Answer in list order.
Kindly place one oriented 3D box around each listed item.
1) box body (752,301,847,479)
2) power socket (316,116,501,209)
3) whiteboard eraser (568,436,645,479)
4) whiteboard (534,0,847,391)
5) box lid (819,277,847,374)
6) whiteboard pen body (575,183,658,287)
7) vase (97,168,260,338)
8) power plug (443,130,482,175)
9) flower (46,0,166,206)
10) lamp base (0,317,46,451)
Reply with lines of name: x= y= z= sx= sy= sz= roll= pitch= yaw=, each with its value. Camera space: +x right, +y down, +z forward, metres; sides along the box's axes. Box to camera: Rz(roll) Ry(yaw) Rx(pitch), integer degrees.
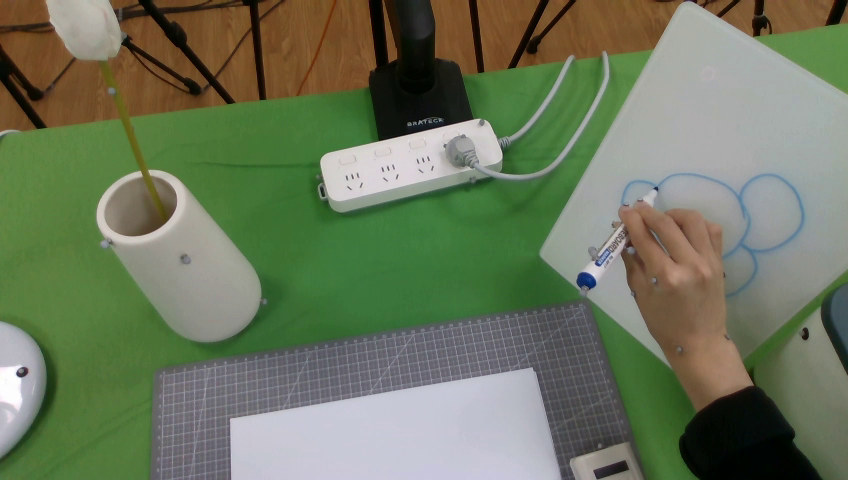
box body: x=0.465 y=0.209 z=0.476 sx=0.254 sy=0.161 sz=0.360 roll=-10 pitch=62 yaw=-5
power socket: x=-0.016 y=-0.092 z=0.710 sx=0.227 sy=0.033 sz=0.071 roll=-14 pitch=63 yaw=-8
whiteboard eraser: x=0.172 y=0.233 z=0.528 sx=0.056 sy=0.042 sz=0.111 roll=-13 pitch=62 yaw=-9
whiteboard: x=0.279 y=-0.044 z=0.566 sx=0.144 sy=0.307 sz=0.215 roll=-30 pitch=64 yaw=-36
box lid: x=0.464 y=0.172 z=0.411 sx=0.263 sy=0.015 sz=0.368 roll=-9 pitch=63 yaw=-5
whiteboard pen body: x=0.162 y=-0.009 z=0.497 sx=0.017 sy=0.017 sz=0.140 roll=35 pitch=55 yaw=18
vase: x=-0.220 y=0.017 z=0.557 sx=0.098 sy=0.201 sz=0.097 roll=-1 pitch=61 yaw=2
power plug: x=0.042 y=-0.091 z=0.683 sx=0.035 sy=0.053 sz=0.072 roll=-5 pitch=63 yaw=-2
flower: x=-0.217 y=-0.039 z=0.494 sx=0.038 sy=0.365 sz=0.043 roll=-20 pitch=45 yaw=-18
lamp base: x=-0.462 y=0.105 z=0.520 sx=0.178 sy=0.182 sz=0.160 roll=20 pitch=63 yaw=14
